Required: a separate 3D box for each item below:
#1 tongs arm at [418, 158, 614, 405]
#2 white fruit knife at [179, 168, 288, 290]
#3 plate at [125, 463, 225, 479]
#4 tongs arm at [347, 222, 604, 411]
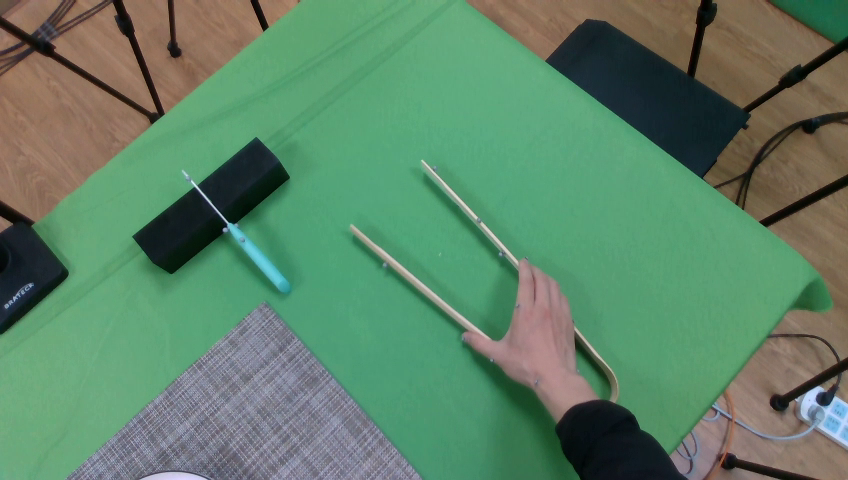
[{"bbox_3d":[0.103,0.043,0.762,0.051,0.027,0.382,-40,75,-11],"label":"tongs arm"},{"bbox_3d":[-0.247,-0.015,0.780,0.016,0.027,0.207,-42,88,-12],"label":"white fruit knife"},{"bbox_3d":[-0.283,0.358,0.675,0.207,0.039,0.206,-1,72,3],"label":"plate"},{"bbox_3d":[0.051,0.092,0.750,0.385,0.028,0.028,37,73,13],"label":"tongs arm"}]
